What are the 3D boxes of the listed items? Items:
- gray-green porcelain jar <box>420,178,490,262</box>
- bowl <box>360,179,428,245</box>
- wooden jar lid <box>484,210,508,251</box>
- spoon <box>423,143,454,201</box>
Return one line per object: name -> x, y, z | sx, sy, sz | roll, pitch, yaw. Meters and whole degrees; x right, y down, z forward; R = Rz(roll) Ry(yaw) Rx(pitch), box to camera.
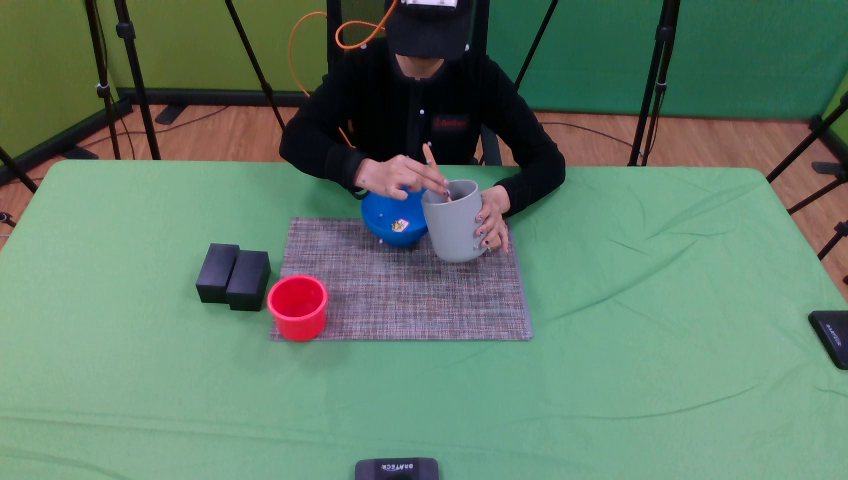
gray-green porcelain jar -> 0.059, -0.032, 1.085 | 0.106, 0.127, 0.105 | -13, 26, 6
bowl -> -0.049, -0.042, 1.190 | 0.151, 0.077, 0.150 | 2, 46, -2
wooden jar lid -> 0.115, -0.018, 1.220 | 0.108, 0.021, 0.107 | 3, 47, -3
spoon -> 0.043, -0.078, 1.045 | 0.041, 0.021, 0.194 | -29, 94, -11
